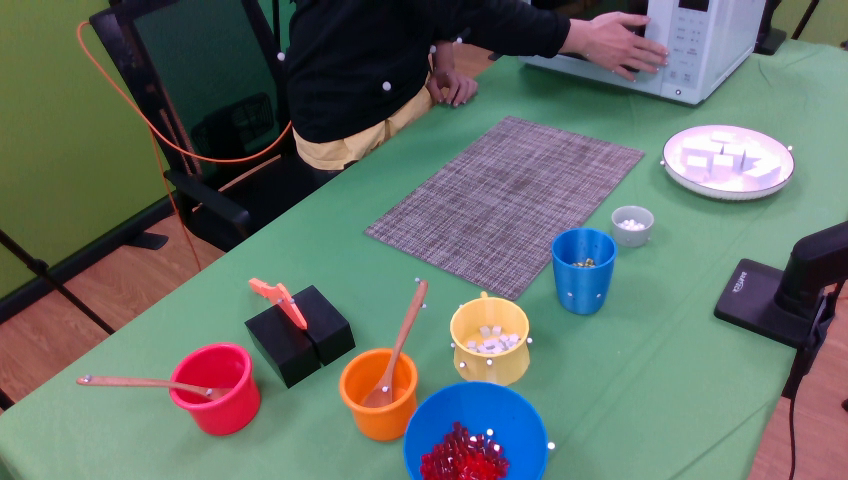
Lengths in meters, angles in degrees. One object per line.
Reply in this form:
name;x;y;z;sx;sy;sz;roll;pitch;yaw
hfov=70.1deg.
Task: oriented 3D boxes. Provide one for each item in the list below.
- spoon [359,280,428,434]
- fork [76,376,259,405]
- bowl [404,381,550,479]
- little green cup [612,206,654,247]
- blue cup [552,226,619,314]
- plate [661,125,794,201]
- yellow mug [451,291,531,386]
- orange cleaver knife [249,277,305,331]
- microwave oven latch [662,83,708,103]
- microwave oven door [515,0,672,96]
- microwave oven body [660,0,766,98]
spoon;-0.032;0.138;0.719;0.041;0.193;0.022;22;4;30
fork;-0.295;0.176;0.716;0.209;0.018;0.028;19;27;-37
bowl;0.058;0.235;0.645;0.151;0.077;0.150;-4;39;4
little green cup;0.321;-0.019;0.936;0.061;0.039;0.061;-4;41;4
blue cup;0.218;0.047;0.825;0.092;0.101;0.092;-6;40;5
plate;0.513;-0.128;1.035;0.207;0.039;0.206;-4;40;4
yellow mug;0.085;0.120;0.786;0.100;0.064;0.130;-7;39;1
orange cleaver knife;-0.210;0.088;0.856;0.012;0.077;0.210;-28;15;-25
microwave oven latch;0.518;-0.297;1.204;0.078;0.029;0.030;29;53;36
microwave oven door;0.343;-0.455;1.260;0.353;0.245;0.039;26;51;33
microwave oven body;0.472;-0.513;1.317;0.438;0.261;0.327;26;51;34
